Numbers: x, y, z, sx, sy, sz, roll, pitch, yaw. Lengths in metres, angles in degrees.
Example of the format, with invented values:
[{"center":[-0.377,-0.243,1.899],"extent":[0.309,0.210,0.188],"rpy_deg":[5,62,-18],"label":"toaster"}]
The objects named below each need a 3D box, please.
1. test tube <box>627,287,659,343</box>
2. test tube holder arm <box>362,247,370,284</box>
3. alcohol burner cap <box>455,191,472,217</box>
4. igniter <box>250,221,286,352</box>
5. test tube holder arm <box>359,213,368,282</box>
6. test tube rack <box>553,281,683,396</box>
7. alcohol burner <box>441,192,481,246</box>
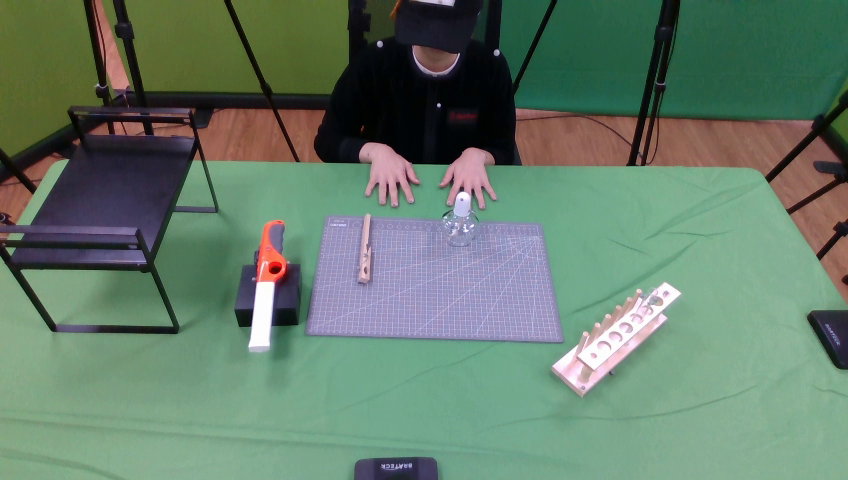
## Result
[{"center":[0.351,0.125,0.983],"extent":[0.017,0.151,0.017],"rpy_deg":[1,50,-1],"label":"test tube"},{"center":[-0.109,0.046,1.144],"extent":[0.010,0.015,0.087],"rpy_deg":[29,37,-28],"label":"test tube holder arm"},{"center":[0.076,-0.071,1.151],"extent":[0.034,0.048,0.033],"rpy_deg":[2,43,-1],"label":"alcohol burner cap"},{"center":[-0.269,0.068,1.042],"extent":[0.057,0.025,0.274],"rpy_deg":[0,48,-7],"label":"igniter"},{"center":[-0.116,0.011,1.172],"extent":[0.013,0.015,0.177],"rpy_deg":[28,37,-29],"label":"test tube holder arm"},{"center":[0.329,0.153,1.022],"extent":[0.242,0.085,0.066],"rpy_deg":[-30,54,-28],"label":"test tube rack"},{"center":[0.073,-0.046,1.176],"extent":[0.078,0.119,0.077],"rpy_deg":[2,44,-2],"label":"alcohol burner"}]
